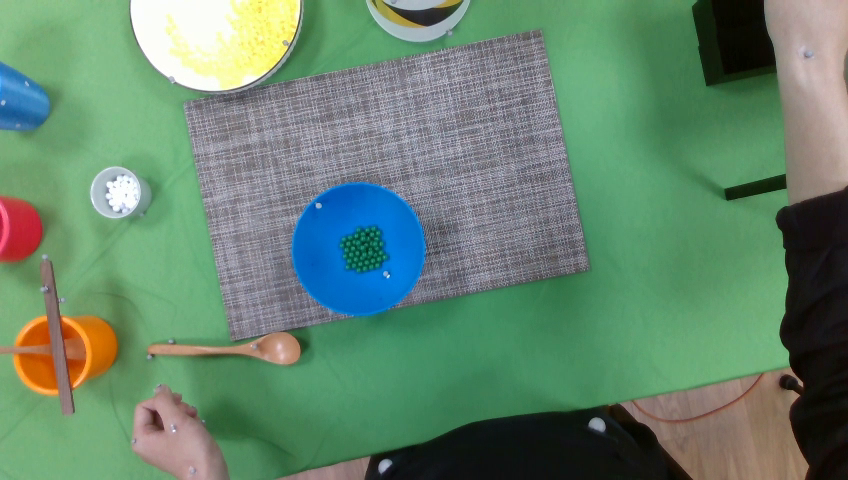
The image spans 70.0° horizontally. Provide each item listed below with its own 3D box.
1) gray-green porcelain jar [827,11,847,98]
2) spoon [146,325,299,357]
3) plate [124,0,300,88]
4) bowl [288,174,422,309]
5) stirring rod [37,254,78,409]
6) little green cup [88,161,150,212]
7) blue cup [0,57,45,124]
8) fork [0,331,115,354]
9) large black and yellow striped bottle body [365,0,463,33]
[{"bbox_3d":[0.414,-0.168,0.499,0.106,0.126,0.106,0,90,2],"label":"gray-green porcelain jar"},{"bbox_3d":[-0.247,0.124,0.742,0.194,0.021,0.042,-1,104,0],"label":"spoon"},{"bbox_3d":[-0.251,-0.285,0.731,0.209,0.038,0.209,0,91,1],"label":"plate"},{"bbox_3d":[-0.075,0.002,0.707,0.151,0.077,0.151,0,91,1],"label":"bowl"},{"bbox_3d":[-0.410,0.102,0.678,0.014,0.006,0.176,-11,90,2],"label":"stirring rod"},{"bbox_3d":[-0.367,-0.063,0.734,0.061,0.038,0.061,0,91,2],"label":"little green cup"},{"bbox_3d":[-0.501,-0.175,0.703,0.092,0.100,0.092,0,91,3],"label":"blue cup"},{"bbox_3d":[-0.463,0.116,0.682,0.209,0.018,0.028,8,93,-42],"label":"fork"},{"bbox_3d":[-0.014,-0.317,0.654,0.131,0.184,0.130,0,90,1],"label":"large black and yellow striped bottle body"}]
